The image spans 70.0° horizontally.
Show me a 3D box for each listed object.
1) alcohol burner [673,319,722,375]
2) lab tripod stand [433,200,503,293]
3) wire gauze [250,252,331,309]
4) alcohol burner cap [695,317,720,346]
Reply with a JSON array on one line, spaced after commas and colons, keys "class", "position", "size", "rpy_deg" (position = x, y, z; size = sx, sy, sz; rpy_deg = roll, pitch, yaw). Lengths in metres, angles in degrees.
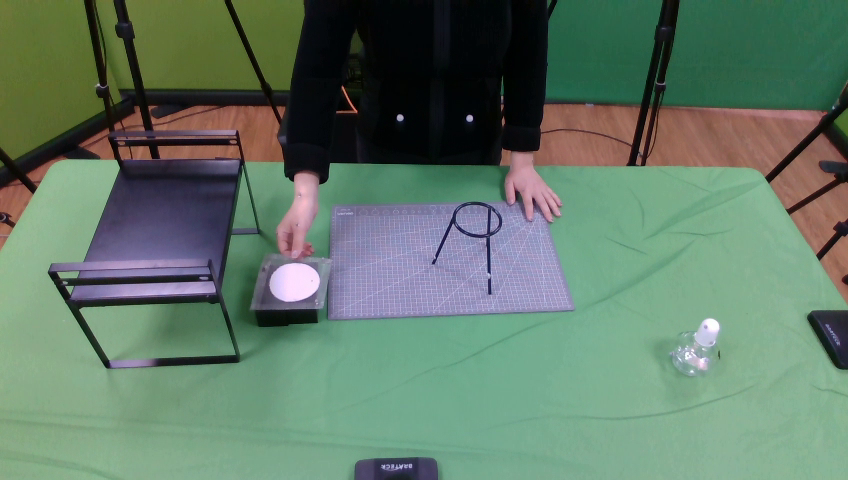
[{"class": "alcohol burner", "position": [0.458, 0.170, 1.002], "size": [0.078, 0.120, 0.077], "rpy_deg": [2, 45, -2]}, {"class": "lab tripod stand", "position": [0.095, 0.006, 1.116], "size": [0.148, 0.132, 0.147], "rpy_deg": [3, 46, -3]}, {"class": "wire gauze", "position": [-0.229, 0.071, 1.052], "size": [0.121, 0.011, 0.124], "rpy_deg": [4, 47, -2]}, {"class": "alcohol burner cap", "position": [0.459, 0.146, 0.975], "size": [0.034, 0.048, 0.033], "rpy_deg": [-3, 45, 3]}]
